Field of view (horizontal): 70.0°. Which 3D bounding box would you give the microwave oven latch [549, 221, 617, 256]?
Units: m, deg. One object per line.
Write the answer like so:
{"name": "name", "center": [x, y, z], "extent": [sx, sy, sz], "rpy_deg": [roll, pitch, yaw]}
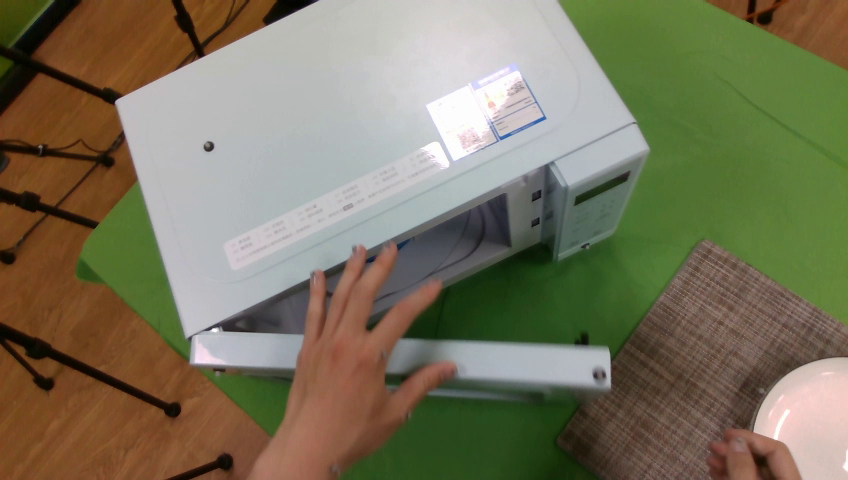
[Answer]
{"name": "microwave oven latch", "center": [0.190, -0.011, 0.725], "extent": [0.079, 0.030, 0.030], "rpy_deg": [-25, 71, 2]}

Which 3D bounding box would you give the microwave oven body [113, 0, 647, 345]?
{"name": "microwave oven body", "center": [-0.046, -0.087, 0.685], "extent": [0.442, 0.262, 0.323], "rpy_deg": [-26, 71, 1]}

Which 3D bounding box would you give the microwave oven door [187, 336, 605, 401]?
{"name": "microwave oven door", "center": [-0.013, 0.129, 0.606], "extent": [0.355, 0.245, 0.039], "rpy_deg": [1, 73, 9]}

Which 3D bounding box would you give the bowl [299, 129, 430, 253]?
{"name": "bowl", "center": [-0.062, -0.045, 0.710], "extent": [0.151, 0.077, 0.150], "rpy_deg": [-3, 68, 8]}

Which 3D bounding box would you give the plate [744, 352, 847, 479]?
{"name": "plate", "center": [0.439, 0.222, 0.626], "extent": [0.207, 0.039, 0.206], "rpy_deg": [-3, 73, 8]}
